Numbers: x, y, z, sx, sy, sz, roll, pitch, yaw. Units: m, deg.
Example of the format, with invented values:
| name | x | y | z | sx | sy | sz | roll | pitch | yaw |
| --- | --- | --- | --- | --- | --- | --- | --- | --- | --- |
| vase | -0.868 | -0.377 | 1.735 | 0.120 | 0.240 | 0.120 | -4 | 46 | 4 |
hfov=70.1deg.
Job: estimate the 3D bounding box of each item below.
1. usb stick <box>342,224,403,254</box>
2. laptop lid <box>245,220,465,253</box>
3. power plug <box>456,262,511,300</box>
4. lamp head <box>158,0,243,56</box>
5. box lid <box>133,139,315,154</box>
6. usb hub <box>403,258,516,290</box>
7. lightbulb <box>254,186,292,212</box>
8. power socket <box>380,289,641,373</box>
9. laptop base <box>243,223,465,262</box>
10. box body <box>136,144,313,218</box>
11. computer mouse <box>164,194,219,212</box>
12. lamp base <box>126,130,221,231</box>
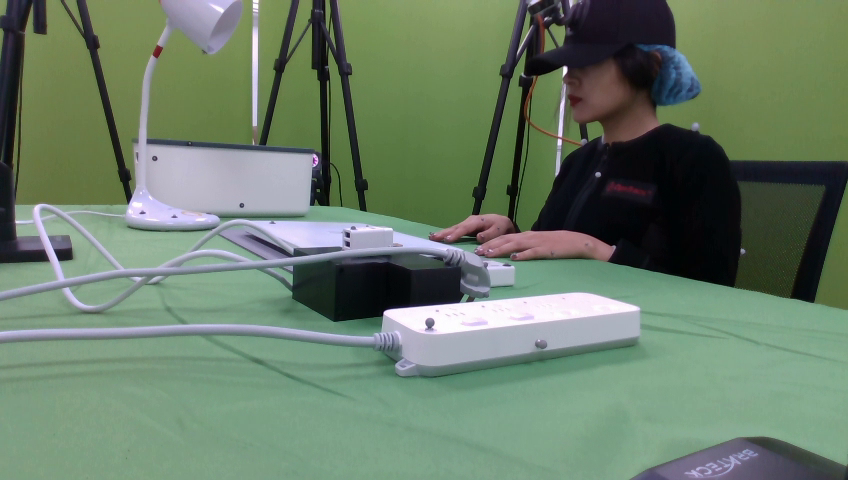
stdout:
| name | x | y | z | sx | sy | sz | roll | pitch | yaw |
| --- | --- | --- | --- | --- | --- | --- | --- | --- | --- |
| usb stick | -0.047 | -0.001 | 0.567 | 0.059 | 0.027 | 0.021 | 0 | 5 | -32 |
| laptop lid | -0.124 | -0.009 | 0.945 | 0.243 | 0.013 | 0.355 | 1 | 7 | -29 |
| power plug | 0.051 | 0.050 | 0.543 | 0.035 | 0.052 | 0.072 | 7 | 37 | -19 |
| lamp head | -0.398 | -0.397 | 1.057 | 0.123 | 0.112 | 0.112 | 27 | 5 | -7 |
| box lid | -0.466 | -0.215 | 1.407 | 0.373 | 0.015 | 0.262 | -1 | 8 | -31 |
| usb hub | 0.042 | 0.038 | 0.690 | 0.126 | 0.025 | 0.049 | -2 | 10 | -30 |
| lightbulb | -0.370 | -0.094 | 1.492 | 0.059 | 0.059 | 0.108 | 8 | -11 | 39 |
| power socket | 0.072 | 0.064 | 0.461 | 0.228 | 0.032 | 0.072 | -2 | 8 | -30 |
| laptop base | -0.126 | 0.003 | 0.946 | 0.237 | 0.023 | 0.352 | 2 | 6 | -31 |
| box body | -0.467 | -0.141 | 1.417 | 0.366 | 0.160 | 0.253 | -2 | 8 | -31 |
| computer mouse | -0.532 | -0.084 | 1.387 | 0.118 | 0.041 | 0.062 | 2 | 4 | -31 |
| lamp base | -0.469 | -0.112 | 1.108 | 0.179 | 0.180 | 0.160 | 0 | 7 | 3 |
